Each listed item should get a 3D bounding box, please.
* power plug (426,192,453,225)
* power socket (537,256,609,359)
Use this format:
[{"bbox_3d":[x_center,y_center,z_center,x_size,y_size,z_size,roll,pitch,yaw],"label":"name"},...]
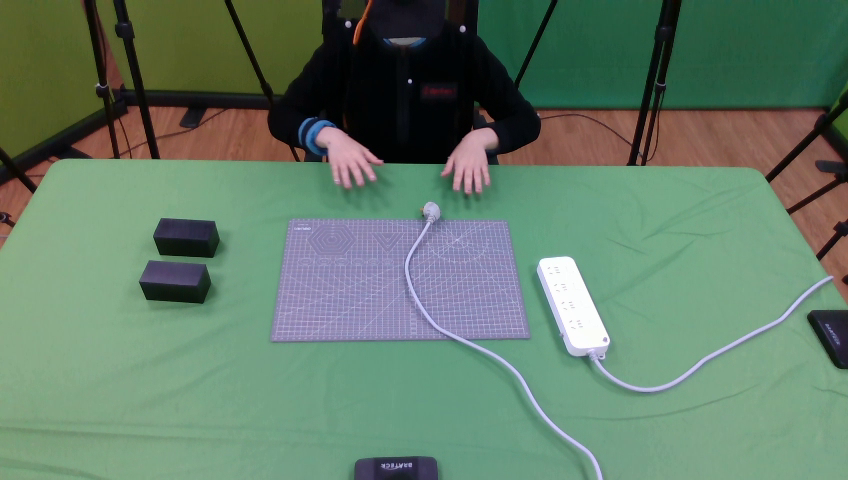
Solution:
[{"bbox_3d":[0.032,-0.062,1.228,0.035,0.072,0.052,-22,92,-35],"label":"power plug"},{"bbox_3d":[0.266,0.115,1.097,0.072,0.033,0.225,-5,47,-8],"label":"power socket"}]
